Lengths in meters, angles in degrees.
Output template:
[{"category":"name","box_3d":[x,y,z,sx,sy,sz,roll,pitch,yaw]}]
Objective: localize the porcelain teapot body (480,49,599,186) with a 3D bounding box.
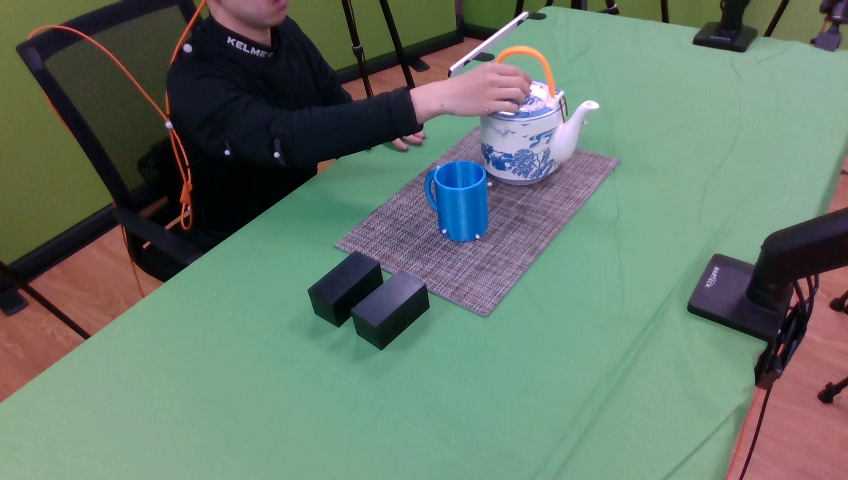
[{"category":"porcelain teapot body","box_3d":[0.193,-0.208,1.023,0.204,0.226,0.145,17,46,25]}]

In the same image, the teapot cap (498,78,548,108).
[{"category":"teapot cap","box_3d":[0.166,-0.246,1.010,0.085,0.044,0.084,-4,45,5]}]

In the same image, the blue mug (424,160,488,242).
[{"category":"blue mug","box_3d":[0.047,-0.067,0.971,0.115,0.106,0.082,22,49,30]}]
